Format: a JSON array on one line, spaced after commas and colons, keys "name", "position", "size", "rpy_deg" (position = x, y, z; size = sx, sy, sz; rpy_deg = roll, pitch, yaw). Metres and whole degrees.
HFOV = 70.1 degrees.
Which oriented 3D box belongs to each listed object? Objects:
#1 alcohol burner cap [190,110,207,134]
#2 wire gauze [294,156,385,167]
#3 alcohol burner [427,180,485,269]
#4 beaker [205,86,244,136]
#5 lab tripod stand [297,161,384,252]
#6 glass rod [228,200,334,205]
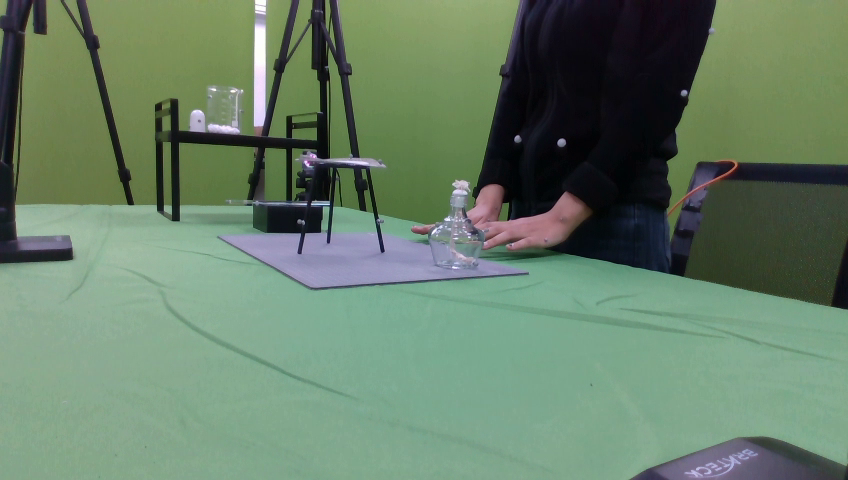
[{"name": "alcohol burner cap", "position": [-0.464, -0.242, 1.241], "size": [0.034, 0.048, 0.034], "rpy_deg": [1, 7, 0]}, {"name": "wire gauze", "position": [-0.128, -0.118, 0.901], "size": [0.125, 0.011, 0.121], "rpy_deg": [0, 8, -14]}, {"name": "alcohol burner", "position": [0.044, -0.021, 0.807], "size": [0.078, 0.119, 0.078], "rpy_deg": [4, 6, 0]}, {"name": "beaker", "position": [-0.430, -0.278, 1.310], "size": [0.084, 0.100, 0.074], "rpy_deg": [5, 8, 13]}, {"name": "lab tripod stand", "position": [-0.130, -0.051, 0.903], "size": [0.148, 0.131, 0.148], "rpy_deg": [3, 9, 0]}, {"name": "glass rod", "position": [-0.268, -0.071, 1.148], "size": [0.201, 0.008, 0.008], "rpy_deg": [-1, 8, -28]}]
